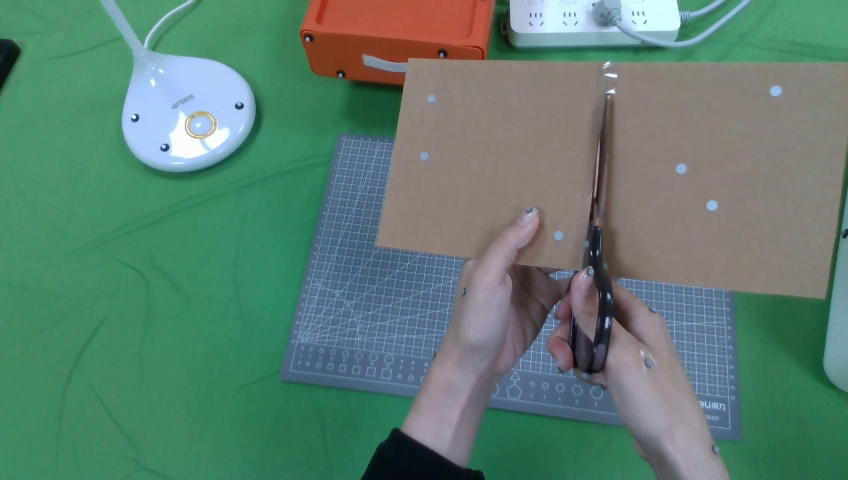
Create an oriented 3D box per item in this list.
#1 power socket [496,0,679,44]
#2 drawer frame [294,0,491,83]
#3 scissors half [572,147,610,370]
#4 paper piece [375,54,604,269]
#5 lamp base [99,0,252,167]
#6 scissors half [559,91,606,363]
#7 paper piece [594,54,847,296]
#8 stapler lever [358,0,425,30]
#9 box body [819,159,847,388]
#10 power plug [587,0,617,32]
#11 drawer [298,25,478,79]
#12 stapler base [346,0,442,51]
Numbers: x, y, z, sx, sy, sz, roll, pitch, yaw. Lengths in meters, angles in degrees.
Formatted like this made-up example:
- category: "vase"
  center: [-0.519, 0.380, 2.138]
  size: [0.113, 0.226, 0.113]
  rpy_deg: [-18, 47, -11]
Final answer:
- category: "power socket"
  center: [0.206, -0.284, 0.766]
  size: [0.227, 0.033, 0.071]
  rpy_deg: [1, 67, 3]
- category: "drawer frame"
  center: [-0.023, -0.291, 0.704]
  size: [0.201, 0.083, 0.212]
  rpy_deg: [7, 66, 6]
- category: "scissors half"
  center: [0.103, -0.010, 0.366]
  size: [0.013, 0.040, 0.174]
  rpy_deg: [8, 69, -2]
- category: "paper piece"
  center: [0.041, -0.056, 0.394]
  size: [0.135, 0.009, 0.138]
  rpy_deg: [7, 85, 18]
- category: "lamp base"
  center: [-0.302, -0.197, 0.669]
  size: [0.178, 0.182, 0.160]
  rpy_deg: [38, 73, 20]
- category: "scissors half"
  center: [0.103, -0.007, 0.388]
  size: [0.013, 0.040, 0.175]
  rpy_deg: [7, 98, 3]
- category: "paper piece"
  center: [0.168, -0.041, 0.360]
  size: [0.135, 0.004, 0.136]
  rpy_deg: [7, 94, 19]
- category: "stapler lever"
  center: [-0.048, -0.276, 0.691]
  size: [0.117, 0.040, 0.027]
  rpy_deg: [36, 88, 20]
- category: "box body"
  center: [0.544, -0.006, 0.557]
  size: [0.253, 0.161, 0.362]
  rpy_deg: [19, 69, 11]
- category: "power plug"
  center: [0.213, -0.267, 0.733]
  size: [0.035, 0.053, 0.072]
  rpy_deg: [11, 67, 7]
- category: "drawer"
  center: [-0.022, -0.288, 0.703]
  size: [0.194, 0.074, 0.210]
  rpy_deg: [7, 66, 7]
- category: "stapler base"
  center: [-0.039, -0.270, 0.715]
  size: [0.129, 0.024, 0.041]
  rpy_deg: [36, 88, 19]
